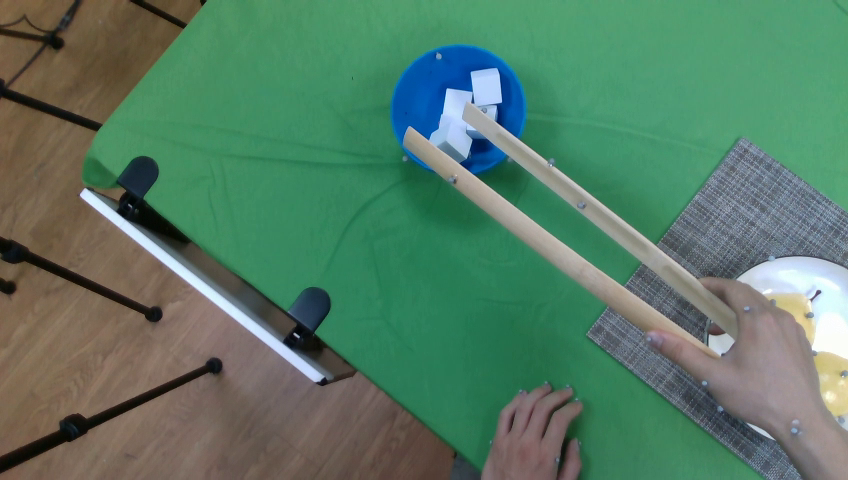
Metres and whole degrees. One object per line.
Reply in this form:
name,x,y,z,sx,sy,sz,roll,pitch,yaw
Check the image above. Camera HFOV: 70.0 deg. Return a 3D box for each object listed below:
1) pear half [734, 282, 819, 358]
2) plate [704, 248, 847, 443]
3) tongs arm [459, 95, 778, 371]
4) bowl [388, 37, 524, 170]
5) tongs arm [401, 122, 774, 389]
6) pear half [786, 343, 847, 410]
pear half,0.395,0.079,0.656,0.110,0.056,0.076,-41,87,-6
plate,0.410,0.113,0.664,0.207,0.039,0.207,0,82,3
tongs arm,0.161,-0.017,0.573,0.382,0.027,0.051,41,49,18
bowl,0.037,-0.144,0.698,0.151,0.077,0.151,0,83,3
tongs arm,0.127,0.006,0.543,0.385,0.028,0.028,38,45,16
pear half,0.442,0.148,0.653,0.088,0.031,0.070,-19,86,7
